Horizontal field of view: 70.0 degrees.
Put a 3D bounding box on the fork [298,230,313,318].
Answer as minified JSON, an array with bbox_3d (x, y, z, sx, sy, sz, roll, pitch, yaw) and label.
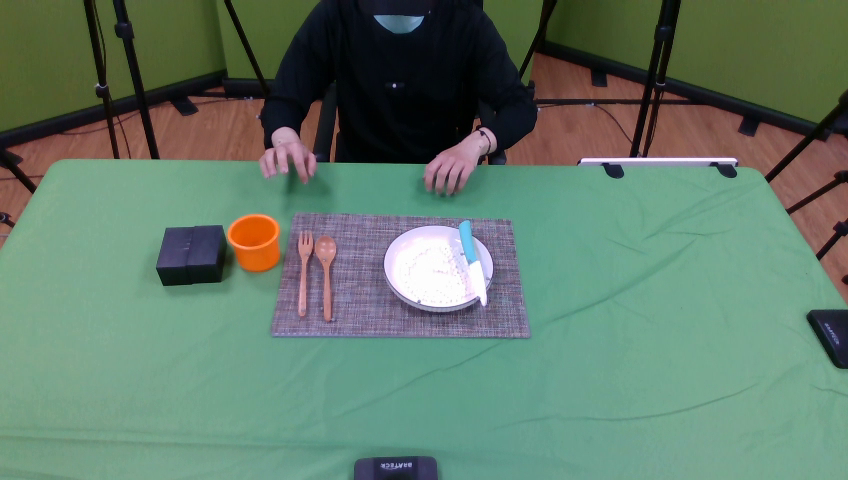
[{"bbox_3d":[-0.222,0.058,1.121,0.028,0.019,0.206,2,44,-10],"label":"fork"}]

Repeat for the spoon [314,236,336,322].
[{"bbox_3d":[-0.180,0.068,1.111,0.042,0.022,0.192,9,43,-20],"label":"spoon"}]

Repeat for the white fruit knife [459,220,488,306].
[{"bbox_3d":[0.091,0.039,1.118,0.027,0.016,0.206,-1,47,-11],"label":"white fruit knife"}]

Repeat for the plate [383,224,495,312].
[{"bbox_3d":[0.026,0.055,1.128,0.209,0.038,0.208,2,46,-2],"label":"plate"}]
